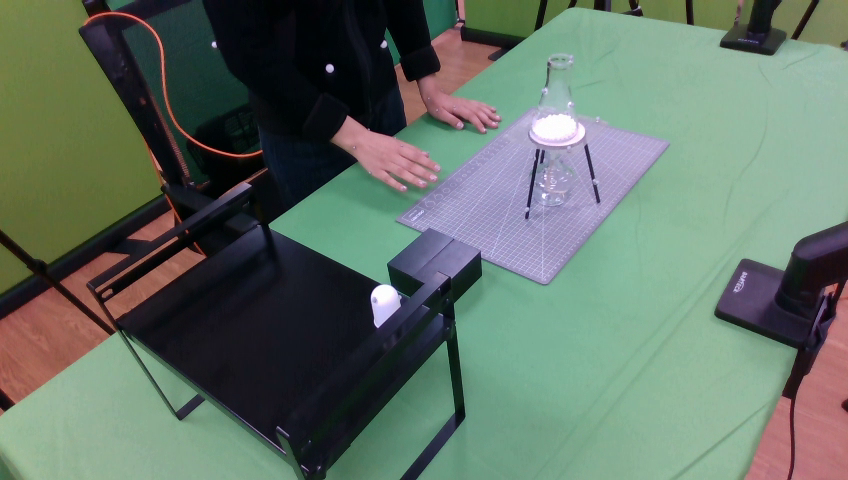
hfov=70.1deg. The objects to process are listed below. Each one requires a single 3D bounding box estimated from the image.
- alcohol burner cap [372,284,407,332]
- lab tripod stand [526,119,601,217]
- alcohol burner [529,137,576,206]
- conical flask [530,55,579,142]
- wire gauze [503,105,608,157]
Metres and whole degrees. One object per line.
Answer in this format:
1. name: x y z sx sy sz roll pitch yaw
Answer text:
1. alcohol burner cap: -0.036 0.066 0.608 0.034 0.048 0.033 -5 40 5
2. lab tripod stand: 0.220 -0.122 0.995 0.148 0.132 0.147 -3 39 3
3. alcohol burner: 0.214 -0.117 1.005 0.078 0.119 0.077 -4 38 4
4. conical flask: 0.200 -0.216 0.914 0.075 0.122 0.075 -3 41 3
5. wire gauze: 0.208 -0.172 0.954 0.120 0.011 0.125 22 50 32
